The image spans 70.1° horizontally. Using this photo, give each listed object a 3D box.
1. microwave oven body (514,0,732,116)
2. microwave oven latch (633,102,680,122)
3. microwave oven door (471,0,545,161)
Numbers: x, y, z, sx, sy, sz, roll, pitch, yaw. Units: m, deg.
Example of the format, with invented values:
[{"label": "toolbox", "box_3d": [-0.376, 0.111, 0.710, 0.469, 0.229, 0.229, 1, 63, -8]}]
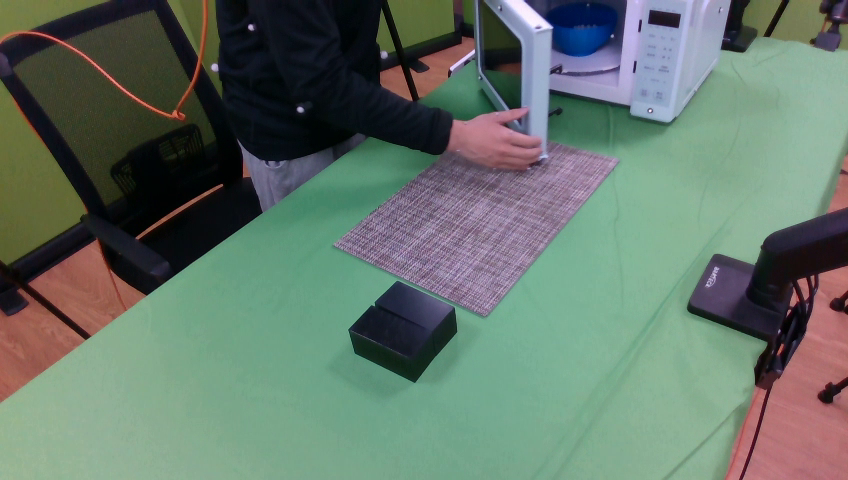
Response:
[{"label": "microwave oven body", "box_3d": [0.377, -0.462, 1.267, 0.438, 0.261, 0.327, 21, 49, 30]}, {"label": "microwave oven latch", "box_3d": [0.444, -0.249, 1.157, 0.078, 0.029, 0.030, 22, 49, 30]}, {"label": "microwave oven door", "box_3d": [0.155, -0.345, 1.155, 0.039, 0.245, 0.353, -12, 41, -6]}]
